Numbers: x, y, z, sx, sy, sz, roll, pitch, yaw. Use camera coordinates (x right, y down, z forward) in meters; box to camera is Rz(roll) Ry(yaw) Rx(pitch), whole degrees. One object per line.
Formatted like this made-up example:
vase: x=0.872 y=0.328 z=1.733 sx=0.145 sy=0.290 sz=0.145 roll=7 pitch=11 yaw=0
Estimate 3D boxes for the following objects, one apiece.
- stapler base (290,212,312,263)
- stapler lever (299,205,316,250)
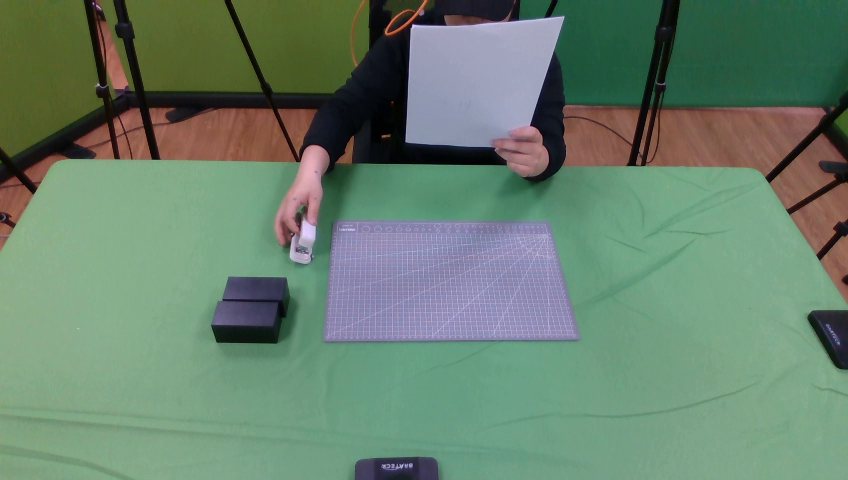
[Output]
stapler base: x=-0.234 y=-0.012 z=1.180 sx=0.041 sy=0.024 sz=0.129 roll=17 pitch=40 yaw=-21
stapler lever: x=-0.224 y=-0.030 z=1.165 sx=0.027 sy=0.040 sz=0.117 roll=17 pitch=40 yaw=-21
